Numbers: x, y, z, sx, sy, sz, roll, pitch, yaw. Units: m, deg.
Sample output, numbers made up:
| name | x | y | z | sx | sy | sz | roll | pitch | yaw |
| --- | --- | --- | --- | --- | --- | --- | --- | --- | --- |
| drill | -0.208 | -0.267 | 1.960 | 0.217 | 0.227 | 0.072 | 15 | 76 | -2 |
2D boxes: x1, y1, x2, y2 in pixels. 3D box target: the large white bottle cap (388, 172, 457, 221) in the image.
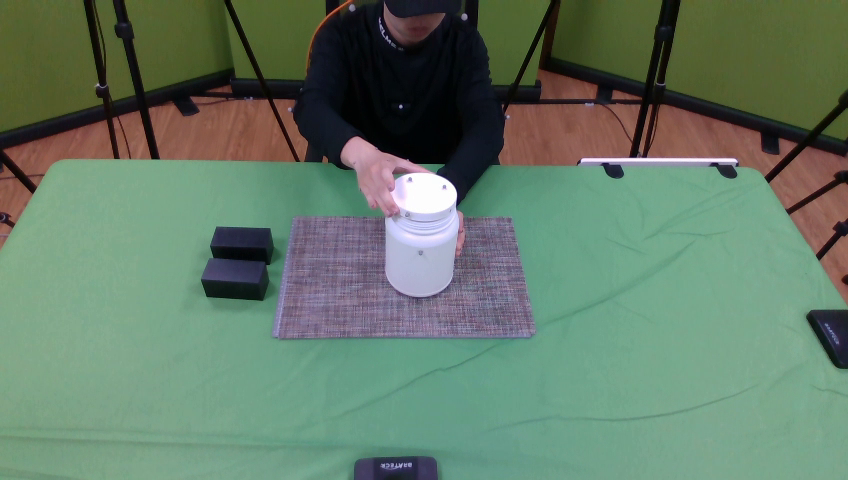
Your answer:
| name | x | y | z | sx | sy | sz | roll | pitch | yaw |
| --- | --- | --- | --- | --- | --- | --- | --- | --- | --- |
| large white bottle cap | -0.002 | -0.074 | 1.013 | 0.115 | 0.018 | 0.114 | 3 | 42 | -2 |

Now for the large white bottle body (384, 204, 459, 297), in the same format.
| name | x | y | z | sx | sy | sz | roll | pitch | yaw |
| --- | --- | --- | --- | --- | --- | --- | --- | --- | --- |
| large white bottle body | -0.006 | -0.002 | 1.081 | 0.131 | 0.185 | 0.130 | 2 | 46 | -2 |
